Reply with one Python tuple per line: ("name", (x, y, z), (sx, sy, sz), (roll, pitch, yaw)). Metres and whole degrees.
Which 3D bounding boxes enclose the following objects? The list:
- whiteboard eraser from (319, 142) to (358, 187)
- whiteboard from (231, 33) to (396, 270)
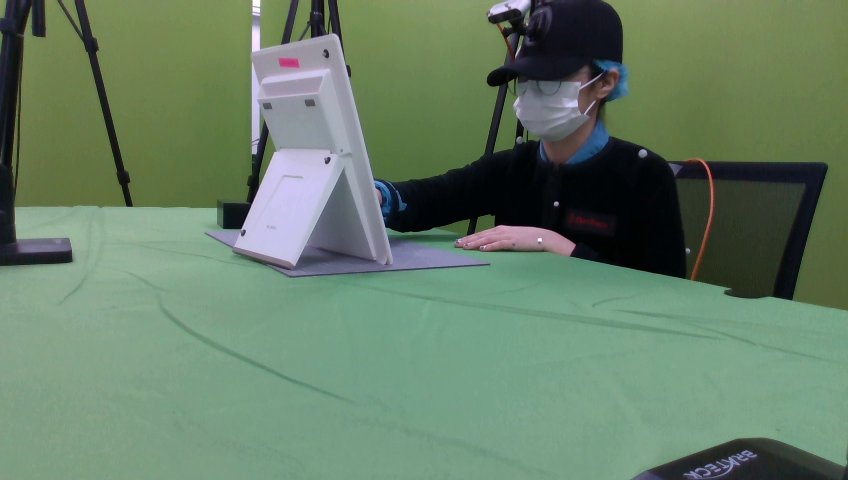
("whiteboard eraser", (-0.120, -0.104, 0.843), (0.019, 0.041, 0.101), (-27, -1, -32))
("whiteboard", (-0.193, -0.094, 0.805), (0.144, 0.305, 0.216), (-29, 25, -35))
